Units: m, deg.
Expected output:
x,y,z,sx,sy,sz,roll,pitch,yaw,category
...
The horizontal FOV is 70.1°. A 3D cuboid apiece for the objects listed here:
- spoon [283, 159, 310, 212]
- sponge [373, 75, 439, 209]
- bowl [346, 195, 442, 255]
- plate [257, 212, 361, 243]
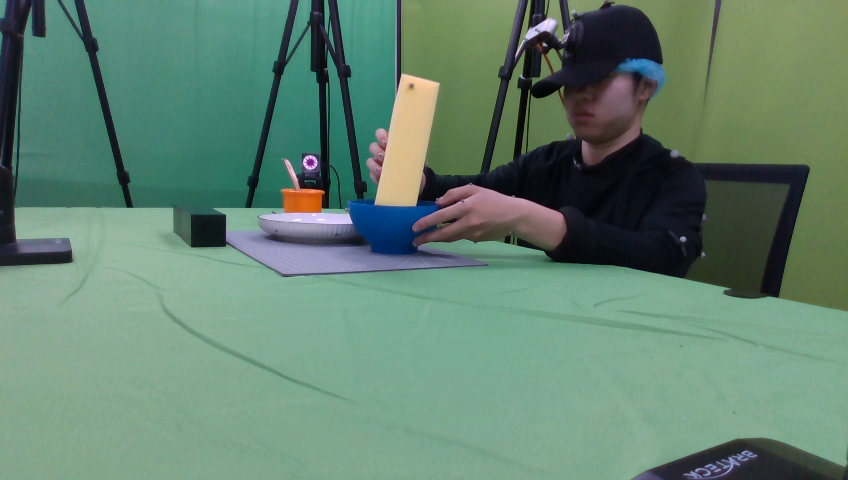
x,y,z,sx,sy,sz,roll,pitch,yaw,category
-0.279,-0.111,1.324,0.042,0.193,0.021,2,-39,-35,spoon
-0.033,-0.134,0.948,0.061,0.206,0.118,12,-9,-7,sponge
-0.048,-0.022,0.949,0.151,0.077,0.151,3,12,0,bowl
-0.189,-0.023,1.072,0.209,0.038,0.209,3,7,0,plate
